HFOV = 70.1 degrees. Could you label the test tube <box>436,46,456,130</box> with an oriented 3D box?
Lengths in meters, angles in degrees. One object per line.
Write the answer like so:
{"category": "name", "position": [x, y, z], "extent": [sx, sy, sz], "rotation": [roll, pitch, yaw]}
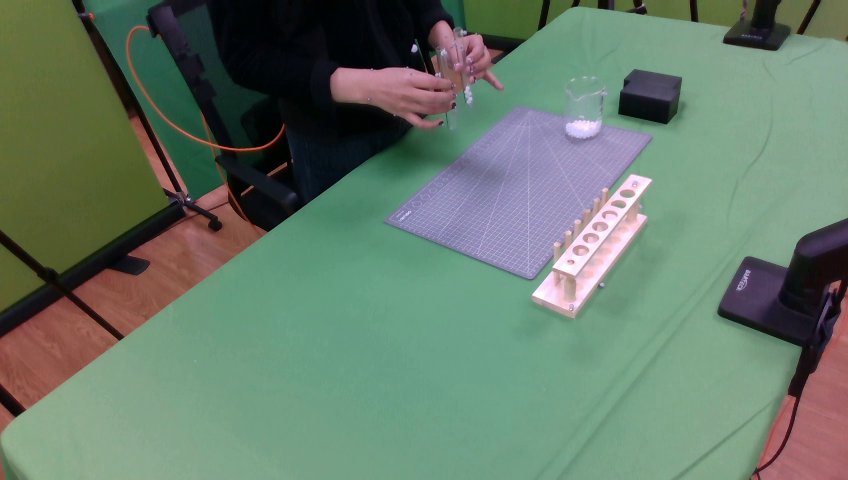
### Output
{"category": "test tube", "position": [0.037, -0.248, 1.004], "extent": [0.017, 0.151, 0.017], "rotation": [-6, 41, 6]}

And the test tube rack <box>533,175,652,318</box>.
{"category": "test tube rack", "position": [0.250, -0.001, 0.889], "extent": [0.066, 0.085, 0.243], "rotation": [22, 49, 33]}

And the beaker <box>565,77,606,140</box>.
{"category": "beaker", "position": [0.304, -0.247, 1.153], "extent": [0.073, 0.101, 0.084], "rotation": [15, 47, 27]}

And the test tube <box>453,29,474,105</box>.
{"category": "test tube", "position": [0.069, -0.296, 1.046], "extent": [0.017, 0.151, 0.017], "rotation": [-7, 49, 9]}
